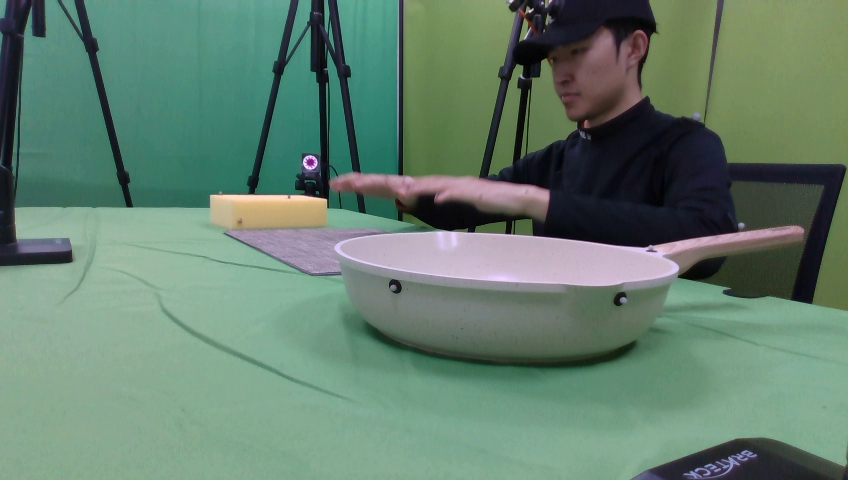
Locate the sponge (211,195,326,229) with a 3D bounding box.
[{"bbox_3d":[-0.320,-0.060,1.254,0.208,0.061,0.117,-3,8,-39],"label":"sponge"}]

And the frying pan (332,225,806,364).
[{"bbox_3d":[0.165,0.024,0.562,0.490,0.102,0.305,-9,11,-16],"label":"frying pan"}]
